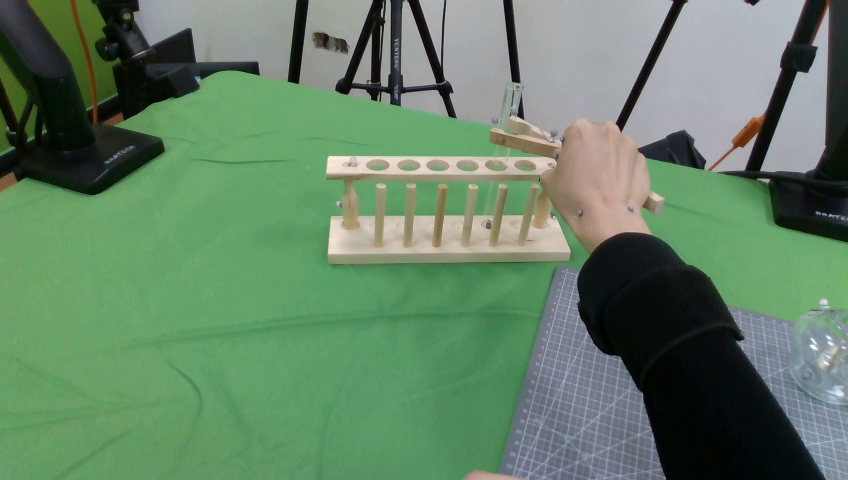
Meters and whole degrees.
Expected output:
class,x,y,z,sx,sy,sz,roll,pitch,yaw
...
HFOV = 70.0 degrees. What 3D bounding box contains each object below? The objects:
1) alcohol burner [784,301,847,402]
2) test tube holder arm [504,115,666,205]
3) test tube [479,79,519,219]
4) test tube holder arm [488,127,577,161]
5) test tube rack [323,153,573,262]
class,x,y,z,sx,sy,sz,roll,pitch,yaw
alcohol burner,0.331,0.068,0.470,0.078,0.120,0.077,2,36,-1
test tube holder arm,0.134,-0.074,0.529,0.013,0.015,0.176,-34,46,-23
test tube,0.071,-0.083,0.592,0.017,0.151,0.017,5,37,-3
test tube holder arm,0.099,-0.088,0.552,0.087,0.015,0.010,17,48,28
test tube rack,0.023,-0.033,0.603,0.243,0.086,0.066,0,38,-6
